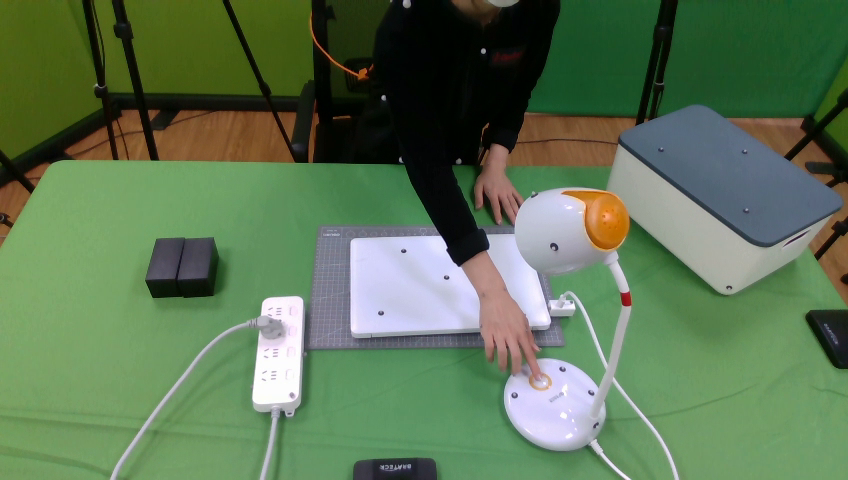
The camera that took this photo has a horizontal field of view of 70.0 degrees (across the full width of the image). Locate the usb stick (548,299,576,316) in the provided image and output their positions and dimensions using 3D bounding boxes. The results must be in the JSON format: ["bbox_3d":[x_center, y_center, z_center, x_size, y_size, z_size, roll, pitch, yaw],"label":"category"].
[{"bbox_3d":[0.239,0.121,1.083,0.059,0.027,0.021,-1,51,-2],"label":"usb stick"}]

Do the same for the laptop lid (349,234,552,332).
[{"bbox_3d":[0.040,0.072,1.118,0.357,0.013,0.240,0,44,-5],"label":"laptop lid"}]

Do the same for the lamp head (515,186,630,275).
[{"bbox_3d":[0.188,-0.013,0.728,0.112,0.112,0.122,-25,9,-25],"label":"lamp head"}]

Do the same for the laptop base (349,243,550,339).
[{"bbox_3d":[0.039,0.081,1.125,0.355,0.023,0.234,-2,43,-6],"label":"laptop base"}]

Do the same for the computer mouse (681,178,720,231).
[{"bbox_3d":[0.596,-0.078,1.290,0.117,0.041,0.062,56,45,-7],"label":"computer mouse"}]

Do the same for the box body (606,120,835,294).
[{"bbox_3d":[0.582,-0.088,1.230,0.254,0.161,0.361,-22,52,-23],"label":"box body"}]

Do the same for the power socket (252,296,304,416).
[{"bbox_3d":[-0.238,0.181,0.997,0.072,0.033,0.225,-3,47,-5],"label":"power socket"}]

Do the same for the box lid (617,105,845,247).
[{"bbox_3d":[0.586,-0.138,1.176,0.263,0.015,0.369,-22,51,-23],"label":"box lid"}]

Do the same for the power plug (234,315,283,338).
[{"bbox_3d":[-0.269,0.143,1.000,0.072,0.053,0.035,4,47,3],"label":"power plug"}]

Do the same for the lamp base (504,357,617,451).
[{"bbox_3d":[0.220,0.211,0.903,0.160,0.181,0.178,-32,59,-30],"label":"lamp base"}]
